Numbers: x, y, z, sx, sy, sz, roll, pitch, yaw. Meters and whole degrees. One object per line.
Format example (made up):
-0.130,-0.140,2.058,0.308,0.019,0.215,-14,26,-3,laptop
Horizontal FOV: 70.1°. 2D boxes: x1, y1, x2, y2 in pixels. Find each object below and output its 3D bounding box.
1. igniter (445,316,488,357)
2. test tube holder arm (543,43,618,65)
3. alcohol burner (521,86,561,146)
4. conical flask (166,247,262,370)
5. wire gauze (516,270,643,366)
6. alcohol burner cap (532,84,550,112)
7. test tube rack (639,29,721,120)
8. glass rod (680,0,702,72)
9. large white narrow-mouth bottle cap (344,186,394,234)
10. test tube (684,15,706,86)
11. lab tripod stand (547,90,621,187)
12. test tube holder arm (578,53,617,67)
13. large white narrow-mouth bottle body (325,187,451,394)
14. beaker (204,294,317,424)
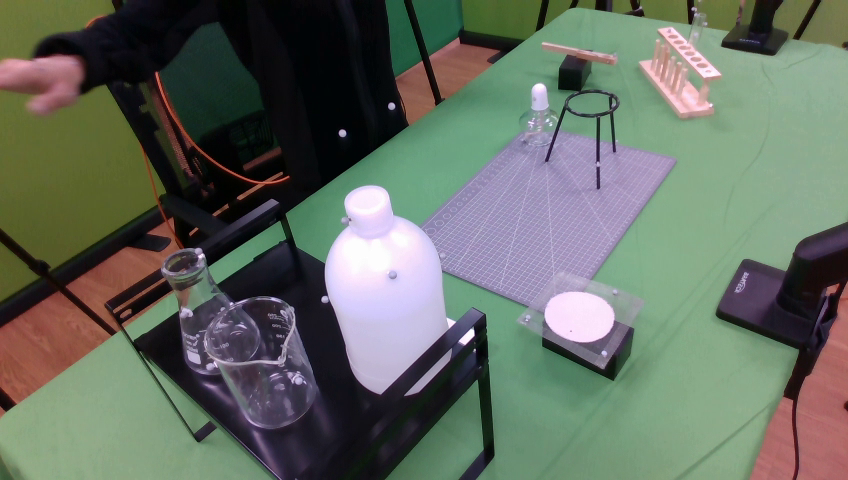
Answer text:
-0.030,0.095,0.872,0.274,0.025,0.057,23,60,31,igniter
0.344,-0.413,1.340,0.177,0.015,0.013,25,51,31,test tube holder arm
0.223,-0.241,1.155,0.078,0.119,0.077,-5,43,5,alcohol burner
-0.209,0.064,0.584,0.075,0.122,0.075,-5,40,4,conical flask
0.200,0.093,0.777,0.124,0.011,0.122,23,49,32,wire gauze
0.218,-0.269,1.133,0.034,0.048,0.033,-8,36,7,alcohol burner cap
0.527,-0.351,1.262,0.067,0.085,0.241,-7,40,1,test tube rack
0.542,-0.416,1.233,0.008,0.200,0.008,1,39,0,glass rod
-0.042,-0.024,0.470,0.038,0.024,0.037,-4,40,4,large white narrow-mouth bottle cap
0.540,-0.378,1.215,0.017,0.151,0.017,-2,44,3,test tube
0.288,-0.184,1.062,0.148,0.132,0.147,-6,41,6,lab tripod stand
0.376,-0.393,1.314,0.087,0.015,0.010,25,51,32,test tube holder arm
-0.033,0.040,0.527,0.102,0.195,0.101,-5,40,4,large white narrow-mouth bottle body
-0.137,0.110,0.536,0.083,0.101,0.074,30,53,36,beaker
